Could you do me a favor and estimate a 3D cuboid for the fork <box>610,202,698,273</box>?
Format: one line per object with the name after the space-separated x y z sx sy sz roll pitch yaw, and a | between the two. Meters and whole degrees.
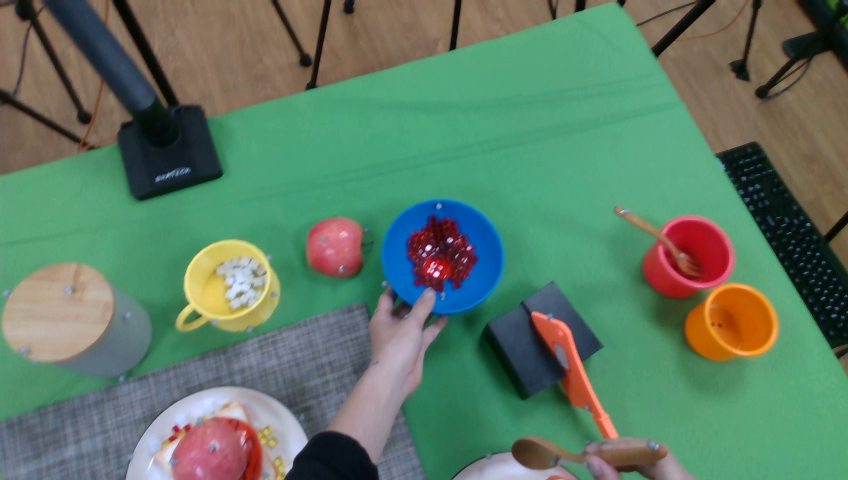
0.293 -0.001 0.760 0.209 0.018 0.028 29 62 -38 | fork

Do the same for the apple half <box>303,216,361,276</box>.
-0.119 0.003 0.782 0.075 0.053 0.080 3 69 0 | apple half

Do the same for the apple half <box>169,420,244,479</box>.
-0.228 0.228 0.625 0.081 0.033 0.080 -1 68 4 | apple half

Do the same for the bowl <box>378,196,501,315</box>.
0.017 0.029 0.767 0.151 0.077 0.150 1 69 -3 | bowl

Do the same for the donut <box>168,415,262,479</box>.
-0.226 0.240 0.659 0.099 0.048 0.098 1 70 -2 | donut

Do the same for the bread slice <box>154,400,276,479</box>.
-0.222 0.264 0.683 0.107 0.018 0.133 -35 74 -15 | bread slice

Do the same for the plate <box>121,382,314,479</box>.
-0.227 0.266 0.679 0.208 0.039 0.206 1 69 -3 | plate

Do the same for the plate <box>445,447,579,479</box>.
0.099 0.342 0.676 0.209 0.038 0.207 2 69 -4 | plate

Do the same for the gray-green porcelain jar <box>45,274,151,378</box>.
-0.381 0.099 0.689 0.106 0.127 0.105 1 68 -3 | gray-green porcelain jar

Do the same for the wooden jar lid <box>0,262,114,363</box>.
-0.378 0.076 0.630 0.108 0.021 0.107 2 66 -4 | wooden jar lid

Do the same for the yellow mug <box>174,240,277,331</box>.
-0.249 0.066 0.743 0.131 0.064 0.099 -41 77 -16 | yellow mug

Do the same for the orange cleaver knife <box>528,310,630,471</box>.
0.182 0.177 0.720 0.012 0.077 0.211 -29 95 -21 | orange cleaver knife

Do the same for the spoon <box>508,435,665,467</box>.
0.127 0.176 0.499 0.042 0.194 0.021 44 63 -4 | spoon
